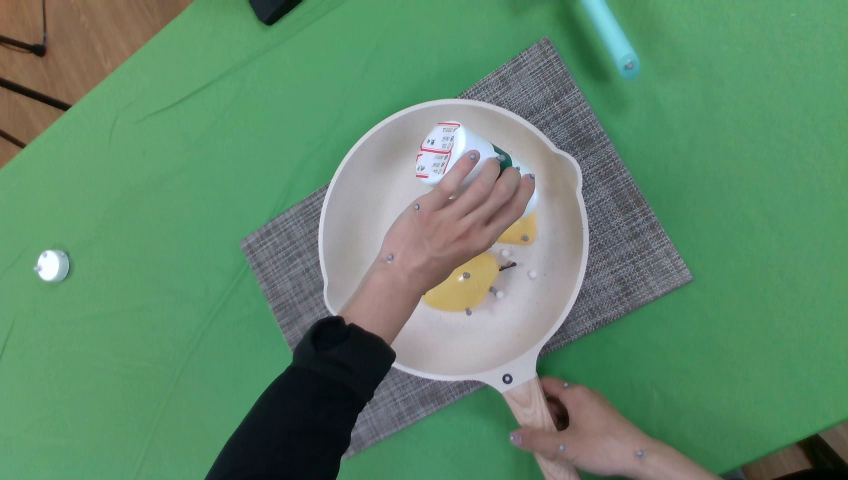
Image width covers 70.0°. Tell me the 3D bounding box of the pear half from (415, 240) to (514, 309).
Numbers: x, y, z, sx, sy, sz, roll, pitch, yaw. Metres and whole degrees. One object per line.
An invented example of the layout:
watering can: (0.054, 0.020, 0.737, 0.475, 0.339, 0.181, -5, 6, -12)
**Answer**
pear half: (0.043, 0.034, 0.658, 0.109, 0.056, 0.076, -18, 90, 14)

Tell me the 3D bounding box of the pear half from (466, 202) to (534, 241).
pear half: (0.082, -0.035, 0.658, 0.070, 0.031, 0.087, -47, 73, 16)

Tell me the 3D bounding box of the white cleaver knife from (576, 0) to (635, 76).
white cleaver knife: (0.144, -0.292, 0.623, 0.021, 0.066, 0.285, -29, 80, 21)

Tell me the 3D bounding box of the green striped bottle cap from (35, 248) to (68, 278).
green striped bottle cap: (-0.529, 0.033, 0.862, 0.044, 0.020, 0.044, 0, 90, 18)

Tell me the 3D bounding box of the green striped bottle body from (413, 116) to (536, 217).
green striped bottle body: (0.053, -0.063, 0.567, 0.063, 0.120, 0.062, -26, 52, 40)

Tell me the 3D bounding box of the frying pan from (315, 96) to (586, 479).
frying pan: (0.067, 0.088, 0.626, 0.306, 0.103, 0.484, -29, 73, 17)
